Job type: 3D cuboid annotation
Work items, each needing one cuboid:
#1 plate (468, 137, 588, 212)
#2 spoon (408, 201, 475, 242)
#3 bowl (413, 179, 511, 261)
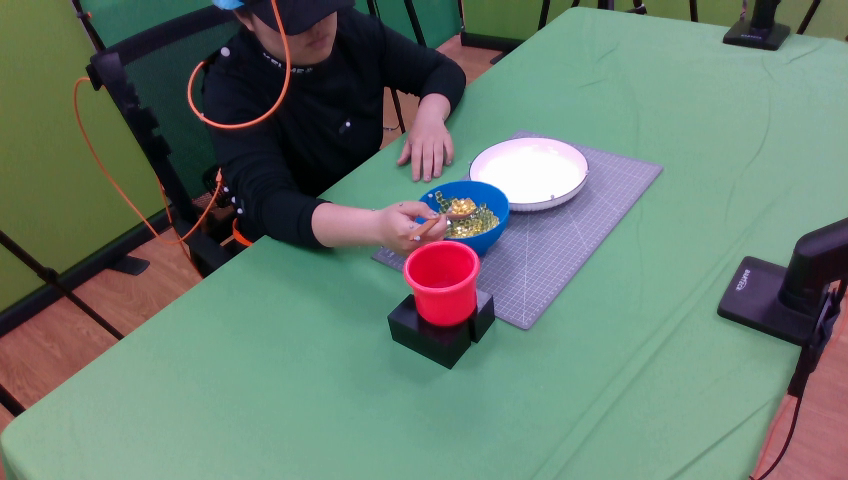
[{"bbox_3d":[0.182,-0.112,1.064,0.207,0.039,0.206,-5,40,5],"label":"plate"},{"bbox_3d":[0.024,-0.029,0.856,0.041,0.021,0.194,11,17,25],"label":"spoon"},{"bbox_3d":[0.062,-0.021,0.947,0.151,0.077,0.150,-5,40,5],"label":"bowl"}]
